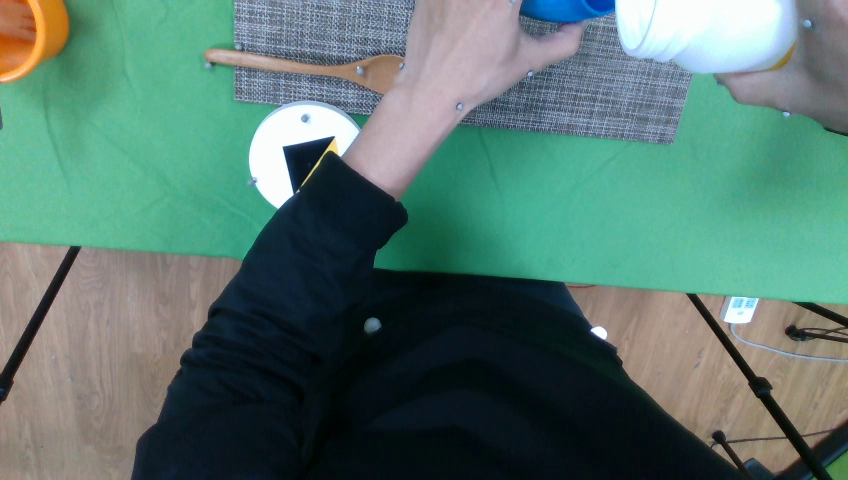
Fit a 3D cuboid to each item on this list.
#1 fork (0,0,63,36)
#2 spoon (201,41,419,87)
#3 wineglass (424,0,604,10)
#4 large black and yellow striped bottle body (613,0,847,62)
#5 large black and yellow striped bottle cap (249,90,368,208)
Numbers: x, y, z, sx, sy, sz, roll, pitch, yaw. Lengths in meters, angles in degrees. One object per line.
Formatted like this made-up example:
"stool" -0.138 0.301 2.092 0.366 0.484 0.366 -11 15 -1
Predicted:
"fork" -0.369 -0.176 0.428 0.208 0.018 0.028 -8 132 -55
"spoon" -0.101 -0.165 0.548 0.194 0.021 0.042 2 135 -11
"wineglass" 0.065 -0.210 0.454 0.074 0.170 0.074 -14 114 -34
"large black and yellow striped bottle body" 0.214 -0.173 0.352 0.184 0.130 0.131 -2 115 4
"large black and yellow striped bottle cap" -0.111 -0.086 0.589 0.115 0.018 0.116 -5 119 -8
